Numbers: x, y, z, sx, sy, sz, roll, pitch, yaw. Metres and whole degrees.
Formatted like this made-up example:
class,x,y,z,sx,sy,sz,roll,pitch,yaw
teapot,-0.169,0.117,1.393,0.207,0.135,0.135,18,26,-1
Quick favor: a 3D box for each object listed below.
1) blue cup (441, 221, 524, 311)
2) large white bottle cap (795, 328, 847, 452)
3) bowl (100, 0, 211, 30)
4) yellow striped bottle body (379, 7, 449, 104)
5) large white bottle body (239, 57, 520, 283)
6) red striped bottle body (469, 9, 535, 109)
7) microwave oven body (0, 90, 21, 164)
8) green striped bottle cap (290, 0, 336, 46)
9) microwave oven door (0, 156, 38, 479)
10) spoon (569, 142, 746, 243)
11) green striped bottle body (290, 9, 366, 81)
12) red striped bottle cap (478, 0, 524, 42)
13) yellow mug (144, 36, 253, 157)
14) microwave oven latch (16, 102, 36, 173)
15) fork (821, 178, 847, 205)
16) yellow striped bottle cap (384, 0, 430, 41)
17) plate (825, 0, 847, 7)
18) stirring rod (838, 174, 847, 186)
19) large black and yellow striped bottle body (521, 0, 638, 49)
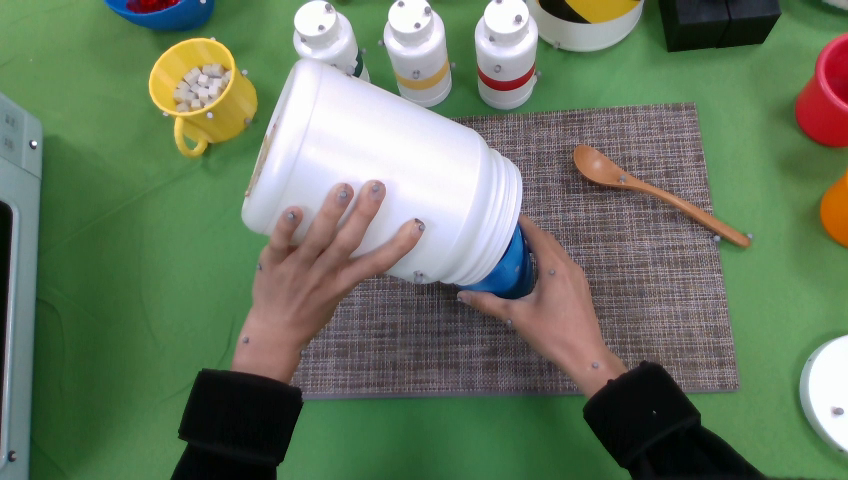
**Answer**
class,x,y,z,sx,sy,sz,roll,pitch,yaw
blue cup,0.053,0.021,0.559,0.092,0.101,0.092,-8,61,16
large white bottle cap,0.395,0.134,0.539,0.115,0.018,0.114,-2,71,6
bowl,-0.313,-0.313,0.739,0.151,0.077,0.150,-2,72,6
yellow striped bottle body,-0.010,-0.202,0.643,0.063,0.121,0.062,-2,71,7
large white bottle body,-0.032,-0.044,0.464,0.186,0.130,0.130,19,72,-21
red striped bottle body,0.082,-0.195,0.631,0.063,0.120,0.062,-4,68,11
microwave oven body,-0.593,0.048,0.556,0.326,0.262,0.438,-12,72,3
green striped bottle cap,-0.111,-0.218,0.606,0.044,0.020,0.044,-2,71,5
microwave oven door,-0.443,0.057,0.530,0.039,0.245,0.353,-12,71,4
spoon,0.233,-0.047,0.611,0.193,0.022,0.041,29,53,14
green striped bottle body,-0.104,-0.201,0.655,0.063,0.120,0.063,-2,71,6
red striped bottle cap,0.074,-0.213,0.581,0.044,0.018,0.044,-1,71,3
yellow mug,-0.258,-0.157,0.688,0.100,0.064,0.130,8,74,8
microwave oven latch,-0.467,-0.116,0.695,0.030,0.030,0.078,-10,72,3
fork,0.438,-0.020,0.513,0.028,0.205,0.019,-24,115,-15
yellow striped bottle cap,-0.017,-0.219,0.595,0.044,0.019,0.044,-2,73,6
plate,0.488,-0.338,0.670,0.209,0.038,0.208,-2,72,6
stirring rod,0.411,-0.021,0.525,0.014,0.006,0.175,0,29,4
large black and yellow striped bottle body,0.167,-0.302,0.621,0.130,0.185,0.130,-2,72,7
